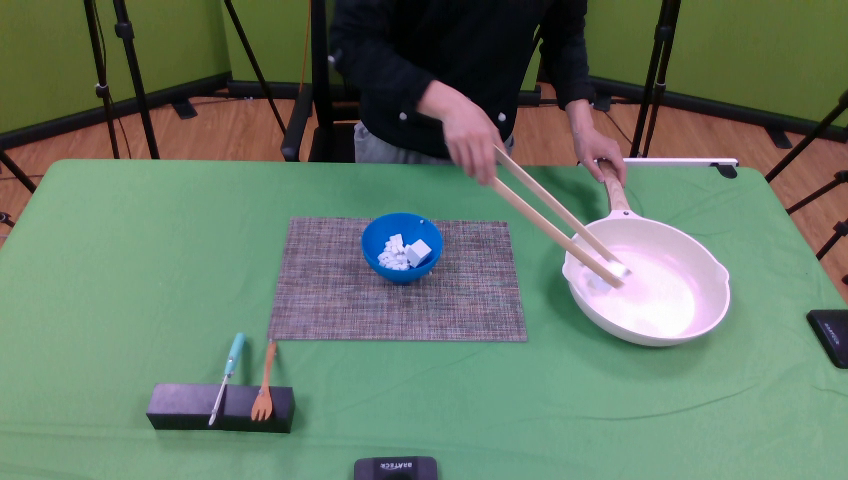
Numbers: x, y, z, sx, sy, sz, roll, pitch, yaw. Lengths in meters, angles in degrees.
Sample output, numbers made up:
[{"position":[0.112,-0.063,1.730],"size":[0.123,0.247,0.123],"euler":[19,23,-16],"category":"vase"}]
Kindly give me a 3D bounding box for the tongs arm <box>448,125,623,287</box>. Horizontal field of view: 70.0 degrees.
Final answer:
[{"position":[0.192,-0.057,1.033],"size":[0.385,0.026,0.050],"euler":[38,59,-3],"category":"tongs arm"}]

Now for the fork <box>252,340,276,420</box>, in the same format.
[{"position":[-0.242,0.211,0.932],"size":[0.028,0.019,0.206],"euler":[-5,26,-7],"category":"fork"}]

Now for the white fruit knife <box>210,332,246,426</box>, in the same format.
[{"position":[-0.301,0.206,0.930],"size":[0.016,0.027,0.206],"euler":[5,29,-7],"category":"white fruit knife"}]

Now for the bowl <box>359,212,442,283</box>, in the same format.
[{"position":[-0.044,0.026,1.125],"size":[0.151,0.077,0.150],"euler":[2,46,-2],"category":"bowl"}]

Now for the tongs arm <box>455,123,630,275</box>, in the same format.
[{"position":[0.204,-0.071,1.045],"size":[0.387,0.028,0.028],"euler":[42,63,-1],"category":"tongs arm"}]

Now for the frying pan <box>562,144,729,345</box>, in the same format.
[{"position":[0.397,-0.008,1.179],"size":[0.307,0.103,0.484],"euler":[1,55,-4],"category":"frying pan"}]
